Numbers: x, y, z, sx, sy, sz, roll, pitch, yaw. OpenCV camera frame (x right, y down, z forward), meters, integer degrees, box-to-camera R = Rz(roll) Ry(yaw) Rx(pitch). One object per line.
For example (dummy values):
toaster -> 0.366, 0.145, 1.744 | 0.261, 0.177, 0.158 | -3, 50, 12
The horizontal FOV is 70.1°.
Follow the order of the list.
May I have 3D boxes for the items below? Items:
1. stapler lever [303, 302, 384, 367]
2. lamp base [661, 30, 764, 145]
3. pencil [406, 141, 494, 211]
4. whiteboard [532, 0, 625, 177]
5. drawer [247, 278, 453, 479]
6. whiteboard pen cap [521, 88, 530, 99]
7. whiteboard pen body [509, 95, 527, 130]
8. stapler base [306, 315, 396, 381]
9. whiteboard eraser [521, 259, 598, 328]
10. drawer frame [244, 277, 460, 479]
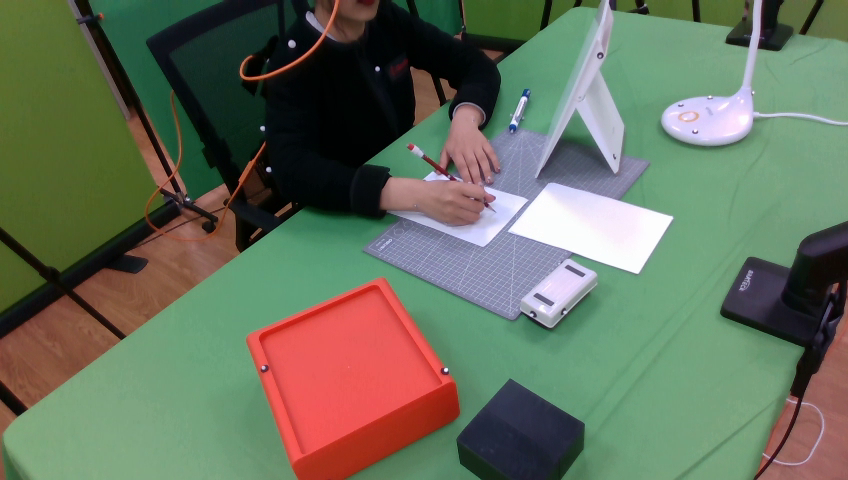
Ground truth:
stapler lever -> -0.108, 0.123, 0.805 | 0.118, 0.040, 0.026 | -27, 36, -15
lamp base -> 0.535, -0.287, 1.096 | 0.179, 0.181, 0.159 | -10, 40, -4
pencil -> 0.046, -0.101, 0.991 | 0.012, 0.195, 0.012 | -43, 26, 26
whiteboard -> 0.321, -0.258, 1.050 | 0.144, 0.306, 0.217 | 21, 45, 5
drawer -> -0.096, 0.167, 0.758 | 0.195, 0.073, 0.210 | -22, 43, -16
whiteboard pen cap -> 0.218, -0.312, 1.301 | 0.018, 0.018, 0.033 | 6, 46, 17
whiteboard pen body -> 0.199, -0.273, 1.261 | 0.017, 0.017, 0.140 | 8, 44, 19
stapler base -> -0.101, 0.139, 0.819 | 0.131, 0.024, 0.041 | -31, 37, -13
whiteboard eraser -> 0.189, 0.076, 0.843 | 0.055, 0.042, 0.113 | 29, 53, 37
drawer frame -> -0.093, 0.167, 0.755 | 0.202, 0.083, 0.211 | -23, 43, -17
